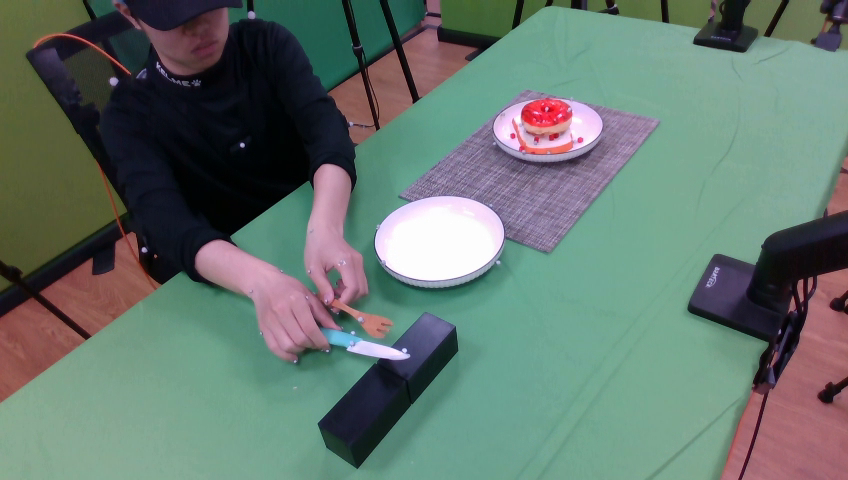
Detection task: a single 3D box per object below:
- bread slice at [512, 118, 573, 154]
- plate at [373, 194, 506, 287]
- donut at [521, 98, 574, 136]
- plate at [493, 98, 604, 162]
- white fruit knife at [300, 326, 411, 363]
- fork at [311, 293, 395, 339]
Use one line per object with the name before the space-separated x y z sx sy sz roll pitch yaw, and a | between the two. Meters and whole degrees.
bread slice | 0.232 -0.204 1.160 0.105 0.019 0.131 -7 39 1
plate | 0.025 0.003 0.951 0.207 0.039 0.206 -4 41 4
donut | 0.232 -0.232 1.135 0.099 0.048 0.098 -4 41 4
plate | 0.237 -0.206 1.158 0.209 0.038 0.208 -4 40 4
white fruit knife | -0.091 0.135 0.778 0.205 0.016 0.027 4 36 43
fork | -0.100 0.096 0.796 0.028 0.019 0.205 -41 33 -24
